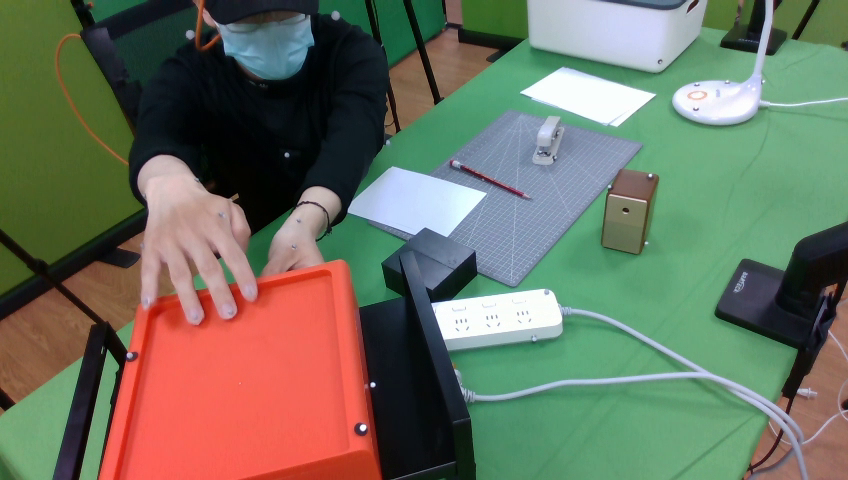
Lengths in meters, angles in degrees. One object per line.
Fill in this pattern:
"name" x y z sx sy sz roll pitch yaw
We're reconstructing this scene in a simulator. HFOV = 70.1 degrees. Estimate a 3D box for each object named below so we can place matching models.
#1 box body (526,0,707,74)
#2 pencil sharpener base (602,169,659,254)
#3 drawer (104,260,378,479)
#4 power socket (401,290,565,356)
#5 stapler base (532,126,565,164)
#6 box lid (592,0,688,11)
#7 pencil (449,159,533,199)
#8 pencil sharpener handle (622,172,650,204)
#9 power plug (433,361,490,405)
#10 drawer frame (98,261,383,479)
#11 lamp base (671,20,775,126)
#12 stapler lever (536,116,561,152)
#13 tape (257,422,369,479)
"box body" 0.450 -0.540 1.430 0.361 0.161 0.255 24 50 31
"pencil sharpener base" 0.312 -0.044 0.913 0.061 0.107 0.077 14 45 24
"drawer" -0.150 0.126 0.524 0.195 0.073 0.210 -11 41 -5
"power socket" 0.080 0.112 0.822 0.227 0.033 0.072 -6 41 0
"stapler base" 0.238 -0.189 1.155 0.041 0.024 0.130 10 42 18
"box lid" 0.441 -0.596 1.383 0.368 0.015 0.264 24 49 31
"pencil" 0.118 -0.110 1.091 0.192 0.012 0.012 30 53 34
"pencil sharpener handle" 0.328 -0.086 0.940 0.036 0.068 0.030 29 49 8
"power plug" 0.044 0.182 0.760 0.073 0.035 0.052 26 40 -20
"drawer frame" -0.148 0.129 0.520 0.202 0.083 0.212 -12 41 -6
"lamp base" 0.582 -0.332 1.153 0.179 0.181 0.160 2 41 7
"stapler lever" 0.236 -0.209 1.141 0.026 0.040 0.118 10 43 18
"tape" -0.120 0.262 0.659 0.117 0.053 0.116 -4 40 4
